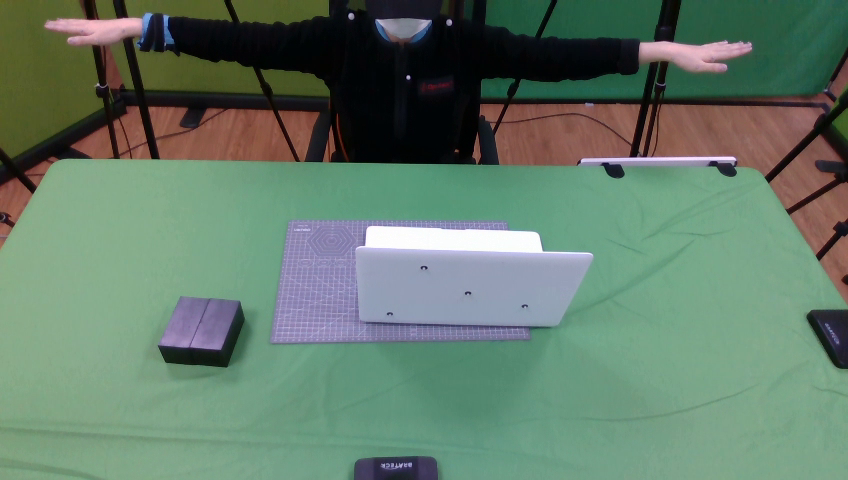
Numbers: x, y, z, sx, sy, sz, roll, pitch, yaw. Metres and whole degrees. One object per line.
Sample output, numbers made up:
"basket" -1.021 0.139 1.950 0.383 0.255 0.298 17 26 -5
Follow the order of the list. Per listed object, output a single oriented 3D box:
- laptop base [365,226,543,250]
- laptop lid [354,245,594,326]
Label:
"laptop base" 0.061 0.063 1.144 0.354 0.023 0.234 2 43 -3
"laptop lid" 0.069 0.080 0.964 0.357 0.243 0.013 2 55 -4
